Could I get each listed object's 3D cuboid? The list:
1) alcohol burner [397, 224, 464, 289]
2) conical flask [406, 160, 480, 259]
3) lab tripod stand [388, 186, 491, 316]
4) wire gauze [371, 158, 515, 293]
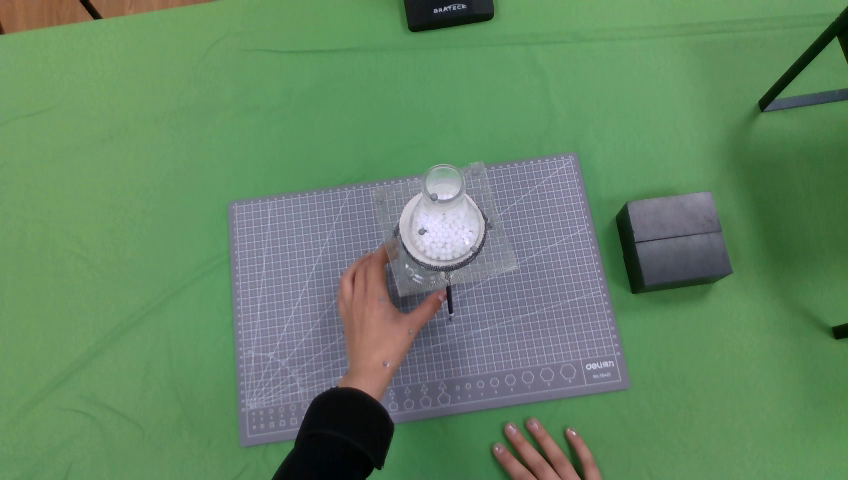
[{"bbox_3d":[0.007,0.014,0.686,0.078,0.119,0.077,0,73,0],"label":"alcohol burner"},{"bbox_3d":[0.017,-0.032,0.558,0.075,0.122,0.075,0,73,2],"label":"conical flask"},{"bbox_3d":[0.023,0.001,0.678,0.148,0.132,0.147,0,72,2],"label":"lab tripod stand"},{"bbox_3d":[0.018,-0.015,0.616,0.125,0.011,0.121,-13,76,-5],"label":"wire gauze"}]
